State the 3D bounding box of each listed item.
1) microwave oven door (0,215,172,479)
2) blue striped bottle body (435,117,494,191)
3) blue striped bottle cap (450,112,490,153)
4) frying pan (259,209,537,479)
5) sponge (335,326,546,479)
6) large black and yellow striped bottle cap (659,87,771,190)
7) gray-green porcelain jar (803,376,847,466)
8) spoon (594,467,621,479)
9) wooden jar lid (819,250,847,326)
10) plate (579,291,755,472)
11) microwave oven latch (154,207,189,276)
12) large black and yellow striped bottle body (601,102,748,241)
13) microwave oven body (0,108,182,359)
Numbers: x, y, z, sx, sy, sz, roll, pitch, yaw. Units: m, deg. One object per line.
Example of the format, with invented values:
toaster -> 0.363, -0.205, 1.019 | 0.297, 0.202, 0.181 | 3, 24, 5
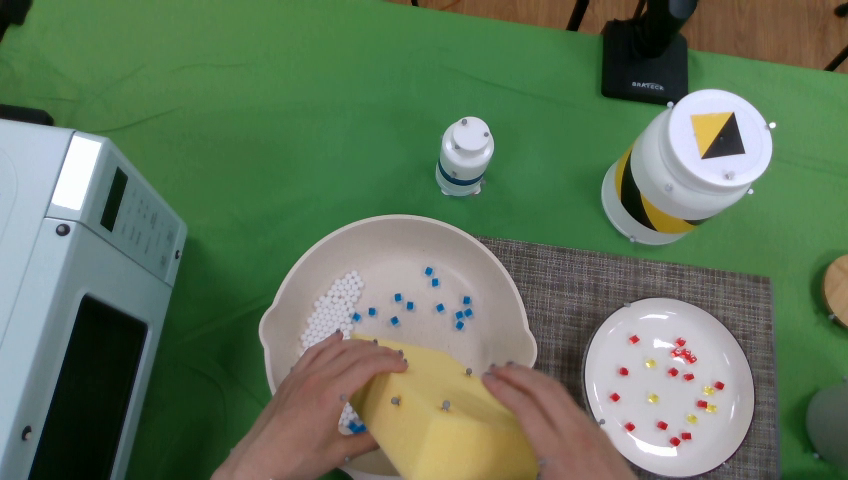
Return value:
microwave oven door -> -0.323, 0.179, 0.546 | 0.039, 0.245, 0.354 | 8, 73, -2
blue striped bottle body -> 0.050, -0.109, 0.743 | 0.063, 0.121, 0.062 | 1, 74, -4
blue striped bottle cap -> 0.053, -0.124, 0.694 | 0.044, 0.021, 0.044 | 1, 71, -3
frying pan -> -0.039, 0.205, 0.652 | 0.307, 0.103, 0.484 | 7, 66, 0
sponge -> 0.004, 0.152, 0.578 | 0.119, 0.205, 0.061 | 16, 94, -27
large black and yellow striped bottle cap -> 0.309, -0.109, 0.644 | 0.115, 0.019, 0.114 | 1, 72, -4
gray-green porcelain jar -> 0.513, 0.207, 0.690 | 0.106, 0.127, 0.105 | 1, 73, -4
spoon -> 0.258, 0.337, 0.682 | 0.041, 0.022, 0.193 | -37, 81, -31
wooden jar lid -> 0.567, 0.066, 0.790 | 0.108, 0.021, 0.108 | 1, 75, -4
plate -> 0.285, 0.166, 0.724 | 0.209, 0.038, 0.208 | 1, 74, -4
microwave oven latch -> -0.298, 0.000, 0.705 | 0.030, 0.029, 0.079 | 11, 74, -2
large black and yellow striped bottle body -> 0.303, -0.085, 0.726 | 0.131, 0.185, 0.130 | 1, 73, -4
microwave oven body -> -0.461, 0.118, 0.557 | 0.326, 0.261, 0.439 | 9, 74, -3
